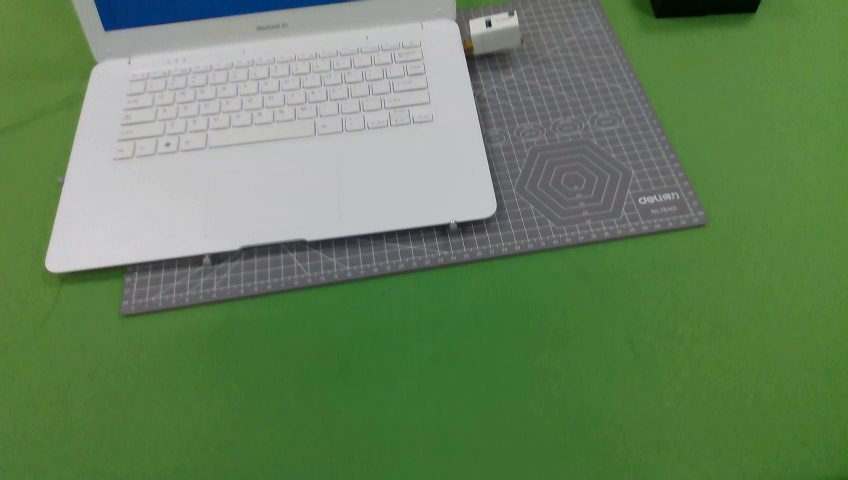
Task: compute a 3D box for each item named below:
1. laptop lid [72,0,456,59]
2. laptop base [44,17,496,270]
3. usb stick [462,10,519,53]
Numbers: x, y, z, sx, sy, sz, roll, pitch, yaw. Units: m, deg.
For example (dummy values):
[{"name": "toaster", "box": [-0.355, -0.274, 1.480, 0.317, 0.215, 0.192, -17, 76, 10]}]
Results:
[{"name": "laptop lid", "box": [-0.154, -0.290, 0.530, 0.357, 0.244, 0.013, -8, 32, -1]}, {"name": "laptop base", "box": [-0.130, -0.093, 0.529, 0.354, 0.023, 0.233, -7, 60, -1]}, {"name": "usb stick", "box": [0.057, -0.192, 0.563, 0.059, 0.027, 0.021, -11, 58, 10]}]
